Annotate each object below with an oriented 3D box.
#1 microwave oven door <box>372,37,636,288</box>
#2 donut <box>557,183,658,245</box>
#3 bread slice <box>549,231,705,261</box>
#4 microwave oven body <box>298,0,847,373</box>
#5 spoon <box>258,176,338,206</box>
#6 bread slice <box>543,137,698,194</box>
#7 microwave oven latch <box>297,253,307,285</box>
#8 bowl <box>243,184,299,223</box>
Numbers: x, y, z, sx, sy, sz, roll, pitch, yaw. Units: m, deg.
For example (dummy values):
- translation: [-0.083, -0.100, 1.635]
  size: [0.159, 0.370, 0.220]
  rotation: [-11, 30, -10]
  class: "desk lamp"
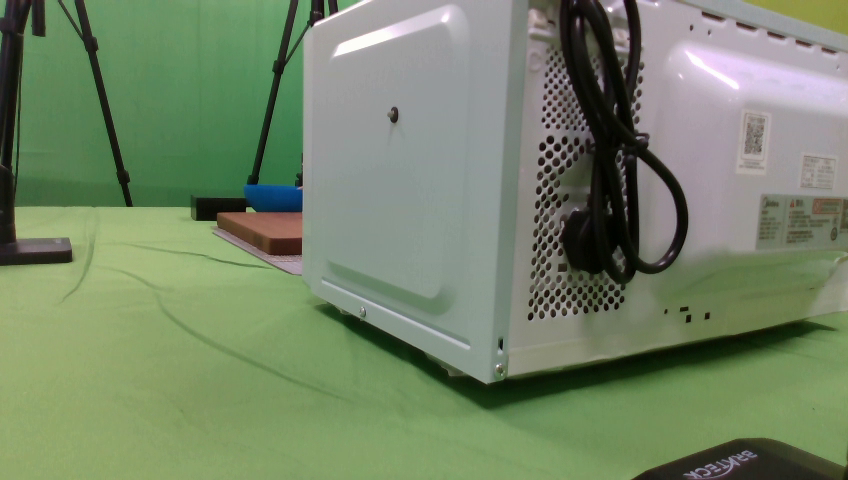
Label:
- translation: [0.110, -0.080, 0.686]
  size: [0.358, 0.243, 0.039]
  rotation: [-2, 9, -33]
  class: "microwave oven door"
- translation: [0.183, -0.028, 0.610]
  size: [0.099, 0.048, 0.099]
  rotation: [12, -11, 3]
  class: "donut"
- translation: [0.202, 0.007, 0.586]
  size: [0.105, 0.019, 0.131]
  rotation: [7, -5, -23]
  class: "bread slice"
- translation: [0.151, -0.055, 0.543]
  size: [0.444, 0.260, 0.324]
  rotation: [-1, 7, -33]
  class: "microwave oven body"
- translation: [-0.279, -0.112, 1.356]
  size: [0.194, 0.021, 0.041]
  rotation: [-28, 19, -27]
  class: "spoon"
- translation: [0.200, -0.074, 0.603]
  size: [0.107, 0.018, 0.133]
  rotation: [-1, 21, -46]
  class: "bread slice"
- translation: [-0.082, 0.027, 0.583]
  size: [0.079, 0.029, 0.030]
  rotation: [-1, 7, -33]
  class: "microwave oven latch"
- translation: [-0.321, -0.081, 1.334]
  size: [0.151, 0.077, 0.151]
  rotation: [3, 8, 0]
  class: "bowl"
